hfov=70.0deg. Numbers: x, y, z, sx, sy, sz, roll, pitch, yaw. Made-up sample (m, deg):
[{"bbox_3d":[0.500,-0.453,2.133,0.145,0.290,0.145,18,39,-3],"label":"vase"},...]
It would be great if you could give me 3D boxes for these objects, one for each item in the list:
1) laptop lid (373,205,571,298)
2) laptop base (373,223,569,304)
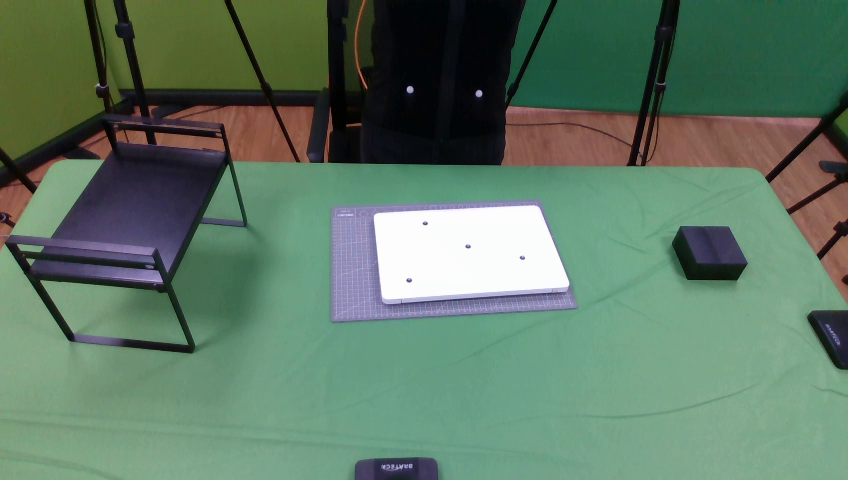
[{"bbox_3d":[0.084,0.015,1.173,0.357,0.013,0.240,-2,44,-6],"label":"laptop lid"},{"bbox_3d":[0.084,0.025,1.180,0.355,0.023,0.234,-3,43,-7],"label":"laptop base"}]
